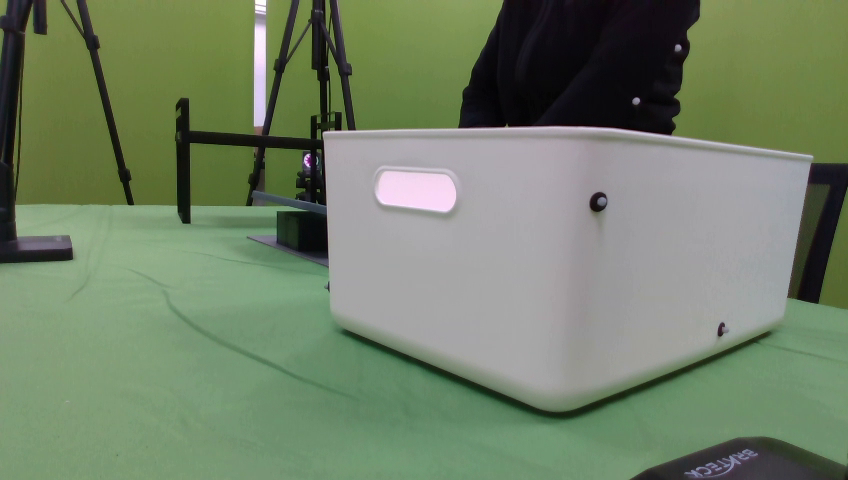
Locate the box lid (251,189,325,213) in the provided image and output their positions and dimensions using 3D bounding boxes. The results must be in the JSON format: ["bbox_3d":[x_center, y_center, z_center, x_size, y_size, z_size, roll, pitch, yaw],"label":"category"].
[{"bbox_3d":[-0.066,-0.028,0.972,0.374,0.015,0.262,11,2,-34],"label":"box lid"}]

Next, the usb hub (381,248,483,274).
[{"bbox_3d":[0.011,0.026,0.775,0.126,0.025,0.049,0,8,-27],"label":"usb hub"}]

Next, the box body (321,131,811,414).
[{"bbox_3d":[0.124,0.000,0.510,0.366,0.160,0.253,-4,10,-42],"label":"box body"}]
